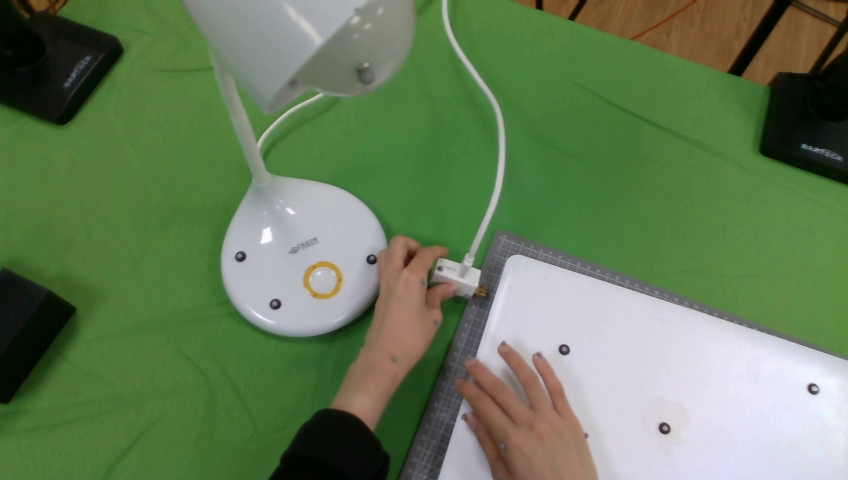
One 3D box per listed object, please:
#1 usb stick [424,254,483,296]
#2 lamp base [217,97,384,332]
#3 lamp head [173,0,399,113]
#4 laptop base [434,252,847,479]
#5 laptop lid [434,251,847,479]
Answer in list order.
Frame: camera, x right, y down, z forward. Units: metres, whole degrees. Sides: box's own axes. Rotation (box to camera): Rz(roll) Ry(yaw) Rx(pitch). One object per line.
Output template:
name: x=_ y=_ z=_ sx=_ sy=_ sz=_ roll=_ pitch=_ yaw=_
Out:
usb stick: x=0.032 y=0.036 z=0.585 sx=0.059 sy=0.027 sz=0.021 roll=21 pitch=49 yaw=-8
lamp base: x=-0.124 y=-0.027 z=0.524 sx=0.160 sy=0.181 sz=0.178 roll=-38 pitch=70 yaw=-17
lamp head: x=-0.065 y=-0.129 z=0.241 sx=0.123 sy=0.112 sz=0.112 roll=46 pitch=70 yaw=-9
laptop base: x=0.209 y=0.166 z=0.548 sx=0.354 sy=0.023 sz=0.234 roll=18 pitch=70 yaw=5
laptop lid: x=0.208 y=0.163 z=0.536 sx=0.356 sy=0.013 sz=0.240 roll=19 pitch=70 yaw=5
